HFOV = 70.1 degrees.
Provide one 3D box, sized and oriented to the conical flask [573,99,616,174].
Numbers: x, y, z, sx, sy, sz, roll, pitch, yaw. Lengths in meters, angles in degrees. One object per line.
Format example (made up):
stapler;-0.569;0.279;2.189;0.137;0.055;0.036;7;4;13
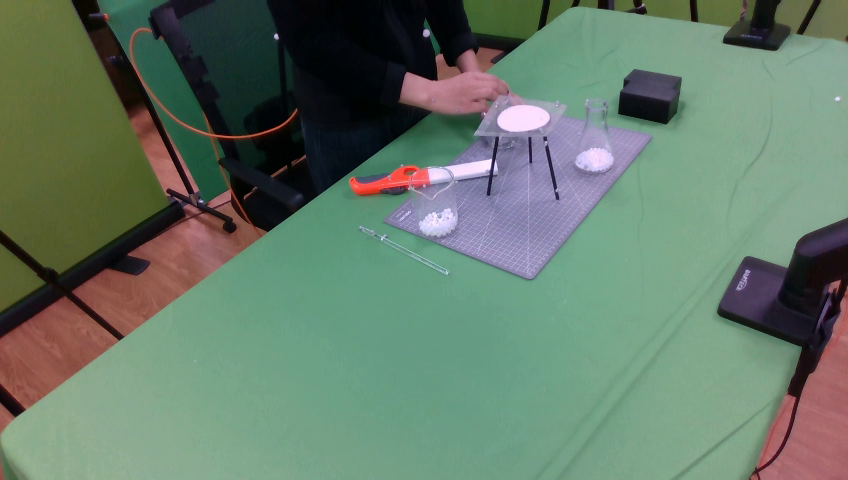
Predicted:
conical flask;0.302;-0.184;1.061;0.075;0.122;0.075;-5;40;5

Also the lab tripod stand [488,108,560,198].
lab tripod stand;0.173;-0.150;1.037;0.148;0.132;0.147;-6;38;6

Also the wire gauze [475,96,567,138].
wire gauze;0.161;-0.201;0.994;0.121;0.011;0.125;12;43;23

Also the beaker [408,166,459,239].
beaker;0.018;-0.057;0.984;0.074;0.101;0.083;-6;41;5

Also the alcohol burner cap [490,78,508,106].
alcohol burner cap;0.138;-0.277;1.126;0.034;0.048;0.033;-9;41;8

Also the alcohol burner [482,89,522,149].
alcohol burner;0.149;-0.237;1.160;0.078;0.119;0.077;-4;40;4

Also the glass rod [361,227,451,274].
glass rod;-0.033;0.014;0.985;0.198;0.008;0.008;25;52;34

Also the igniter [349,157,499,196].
igniter;-0.001;-0.117;1.117;0.276;0.025;0.057;-9;56;2
